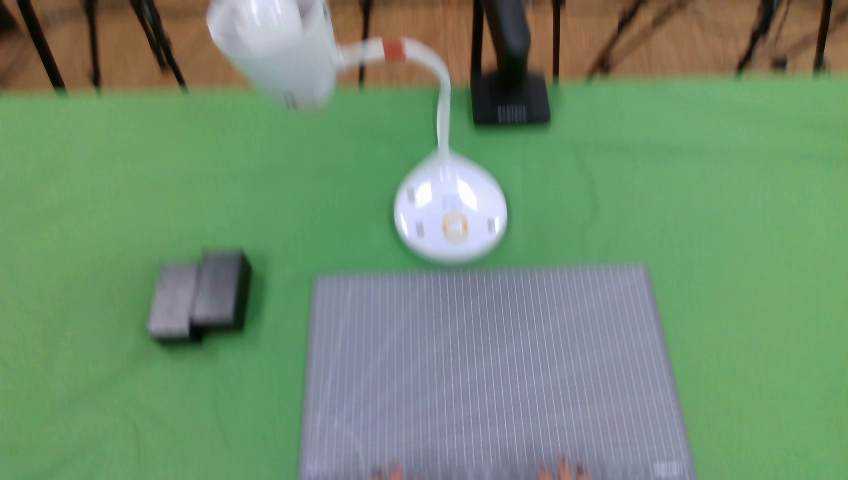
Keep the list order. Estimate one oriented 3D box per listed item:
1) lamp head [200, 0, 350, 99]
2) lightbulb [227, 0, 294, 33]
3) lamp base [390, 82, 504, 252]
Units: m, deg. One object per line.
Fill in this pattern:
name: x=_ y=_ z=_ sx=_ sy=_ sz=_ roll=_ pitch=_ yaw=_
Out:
lamp head: x=-0.136 y=-0.202 z=0.598 sx=0.112 sy=0.124 sz=0.111 roll=-7 pitch=62 yaw=14
lightbulb: x=-0.146 y=-0.207 z=0.575 sx=0.059 sy=0.108 sz=0.059 roll=-3 pitch=66 yaw=8
lamp base: x=0.027 y=-0.101 z=0.789 sx=0.161 sy=0.182 sz=0.177 roll=-14 pitch=60 yaw=-7
